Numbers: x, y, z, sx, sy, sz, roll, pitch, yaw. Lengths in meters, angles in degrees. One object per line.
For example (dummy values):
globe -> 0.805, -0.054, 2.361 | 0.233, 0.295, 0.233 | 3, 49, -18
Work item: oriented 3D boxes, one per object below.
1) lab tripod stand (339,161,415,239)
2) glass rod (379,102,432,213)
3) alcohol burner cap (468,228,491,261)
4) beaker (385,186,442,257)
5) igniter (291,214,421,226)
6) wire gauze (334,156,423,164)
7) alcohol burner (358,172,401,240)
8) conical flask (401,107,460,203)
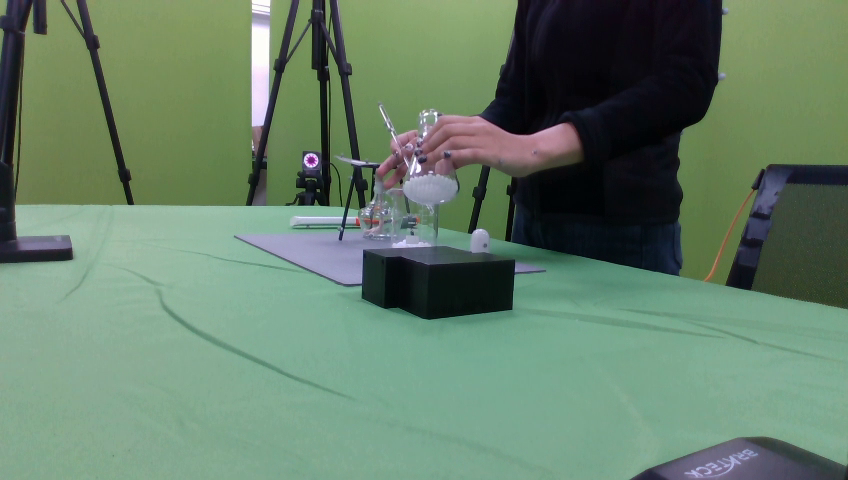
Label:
lab tripod stand -> -0.082, -0.070, 1.059 | 0.148, 0.131, 0.148 | 4, 6, 0
glass rod -> -0.029, -0.125, 0.898 | 0.008, 0.199, 0.008 | -21, -19, -8
alcohol burner cap -> 0.082, 0.006, 0.878 | 0.034, 0.048, 0.034 | 3, 7, 0
beaker -> -0.016, -0.028, 0.886 | 0.084, 0.100, 0.074 | 0, 7, -9
igniter -> -0.135, -0.041, 1.250 | 0.278, 0.025, 0.057 | -1, -3, -28
wire gauze -> -0.081, -0.137, 1.051 | 0.122, 0.011, 0.124 | 0, 8, -30
alcohol burner -> -0.077, -0.061, 1.065 | 0.078, 0.119, 0.078 | 4, 9, 0
conical flask -> 0.008, -0.116, 0.797 | 0.075, 0.121, 0.075 | -1, -27, 0
